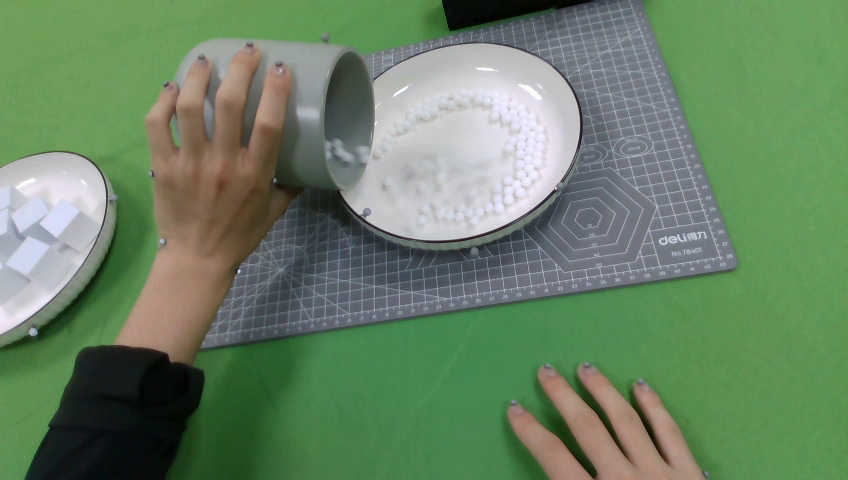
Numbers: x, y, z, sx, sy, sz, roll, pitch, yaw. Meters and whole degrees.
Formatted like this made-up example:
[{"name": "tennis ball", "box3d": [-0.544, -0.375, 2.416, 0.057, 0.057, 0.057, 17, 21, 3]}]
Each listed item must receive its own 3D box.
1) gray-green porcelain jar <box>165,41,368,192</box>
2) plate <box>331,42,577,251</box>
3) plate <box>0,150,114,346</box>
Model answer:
[{"name": "gray-green porcelain jar", "box3d": [-0.119, -0.095, 0.461, 0.126, 0.107, 0.105, 7, 62, 13]}, {"name": "plate", "box3d": [0.020, -0.078, 0.502, 0.209, 0.038, 0.207, -7, 58, 11]}, {"name": "plate", "box3d": [-0.377, 0.010, 0.558, 0.207, 0.039, 0.205, -7, 58, 11]}]
